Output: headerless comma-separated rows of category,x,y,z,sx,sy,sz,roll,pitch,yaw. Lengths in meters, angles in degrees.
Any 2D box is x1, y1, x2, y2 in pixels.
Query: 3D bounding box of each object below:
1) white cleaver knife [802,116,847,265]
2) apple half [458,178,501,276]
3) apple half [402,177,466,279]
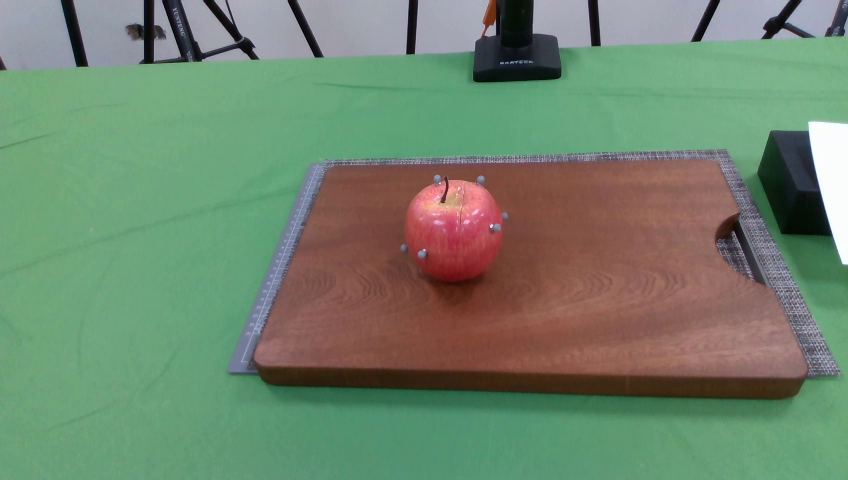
white cleaver knife,0.362,0.000,0.489,0.066,0.022,0.284,1,53,13
apple half,0.047,-0.010,0.495,0.033,0.082,0.080,-3,41,10
apple half,0.009,-0.009,0.501,0.053,0.075,0.080,-3,44,11
